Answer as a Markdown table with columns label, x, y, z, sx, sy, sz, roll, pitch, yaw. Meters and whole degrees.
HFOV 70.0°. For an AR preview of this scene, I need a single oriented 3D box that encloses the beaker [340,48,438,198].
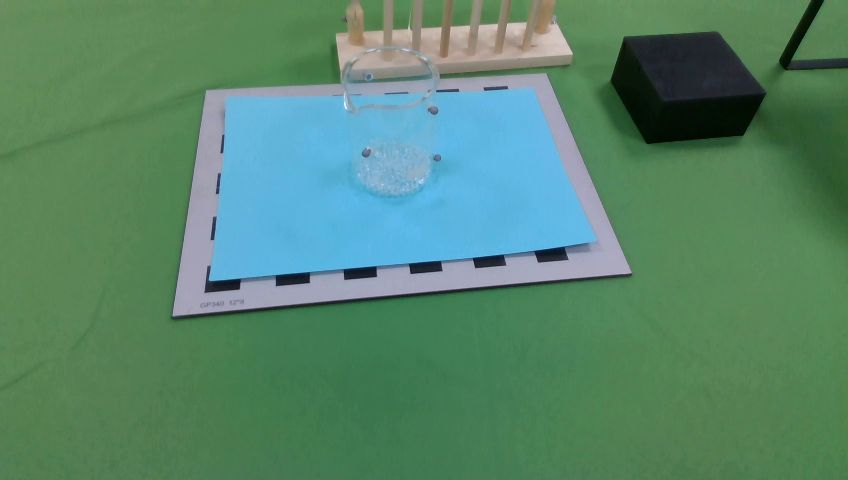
| label | x | y | z | sx | sy | sz | roll | pitch | yaw |
| --- | --- | --- | --- | --- | --- | --- | --- | --- | --- |
| beaker | -0.030 | -0.089 | 0.489 | 0.073 | 0.101 | 0.084 | 33 | 57 | 23 |

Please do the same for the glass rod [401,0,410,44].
| label | x | y | z | sx | sy | sz | roll | pitch | yaw |
| --- | --- | --- | --- | --- | --- | --- | --- | --- | --- |
| glass rod | -0.005 | -0.278 | 0.574 | 0.008 | 0.201 | 0.008 | 7 | 46 | -7 |

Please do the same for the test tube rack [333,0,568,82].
| label | x | y | z | sx | sy | sz | roll | pitch | yaw |
| --- | --- | --- | --- | --- | --- | --- | --- | --- | --- |
| test tube rack | 0.029 | -0.224 | 0.616 | 0.243 | 0.086 | 0.066 | -6 | 51 | -8 |
